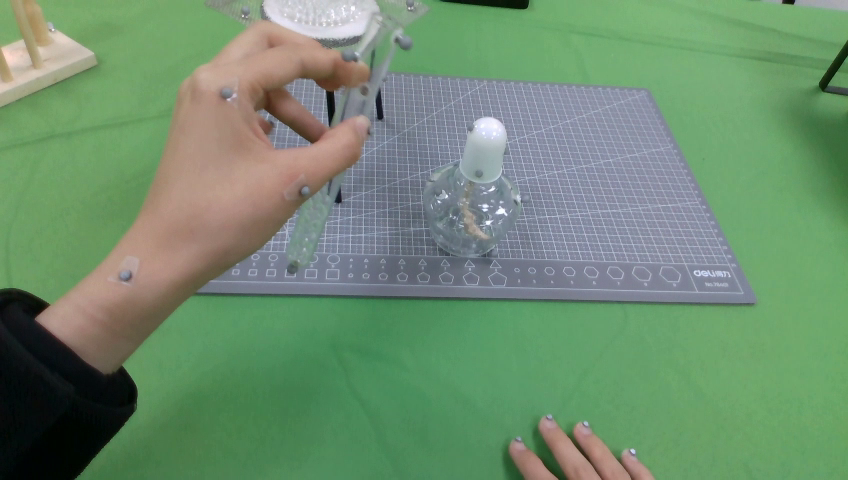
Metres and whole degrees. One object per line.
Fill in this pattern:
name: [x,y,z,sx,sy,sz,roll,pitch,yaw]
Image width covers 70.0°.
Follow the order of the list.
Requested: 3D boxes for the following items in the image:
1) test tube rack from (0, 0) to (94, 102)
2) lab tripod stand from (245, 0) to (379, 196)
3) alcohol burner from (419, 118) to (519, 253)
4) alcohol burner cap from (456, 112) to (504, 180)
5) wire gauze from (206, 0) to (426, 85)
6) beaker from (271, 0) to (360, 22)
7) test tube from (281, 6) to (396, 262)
test tube rack: [-0.415,-0.151,0.502,0.066,0.086,0.242,32,51,18]
lab tripod stand: [-0.086,-0.132,0.503,0.149,0.132,0.147,6,49,-6]
alcohol burner: [0.037,-0.046,0.461,0.078,0.120,0.077,6,48,-6]
alcohol burner cap: [0.042,-0.069,0.433,0.034,0.048,0.033,3,53,-3]
wire gauze: [-0.080,-0.175,0.454,0.124,0.011,0.121,34,55,15]
beaker: [-0.078,-0.212,0.421,0.073,0.101,0.084,39,56,22]
test tube: [-0.048,-0.045,0.310,0.017,0.151,0.017,19,34,-13]
